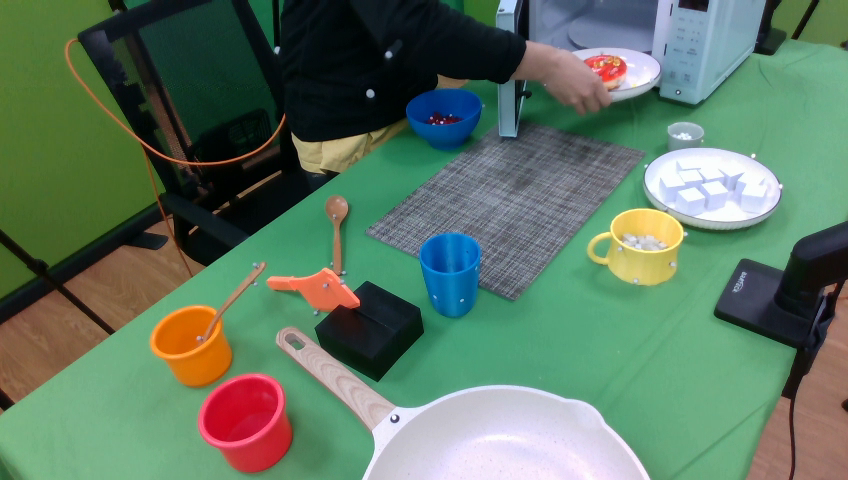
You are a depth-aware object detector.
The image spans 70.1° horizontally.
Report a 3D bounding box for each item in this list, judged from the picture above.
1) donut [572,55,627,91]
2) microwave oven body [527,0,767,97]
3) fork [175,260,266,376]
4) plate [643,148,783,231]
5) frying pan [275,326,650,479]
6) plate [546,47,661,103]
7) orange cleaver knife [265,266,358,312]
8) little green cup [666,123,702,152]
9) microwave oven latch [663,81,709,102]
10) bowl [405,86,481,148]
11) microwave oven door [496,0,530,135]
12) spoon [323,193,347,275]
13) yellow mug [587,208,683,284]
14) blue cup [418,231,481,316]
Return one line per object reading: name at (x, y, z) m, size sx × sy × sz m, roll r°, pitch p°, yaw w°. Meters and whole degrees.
donut at (0.327, -0.312, 1.127) m, size 0.099 × 0.048 × 0.098 m, roll -7°, pitch 38°, yaw 6°
microwave oven body at (0.473, -0.516, 1.313) m, size 0.438 × 0.261 × 0.327 m, roll 26°, pitch 51°, yaw 34°
fork at (-0.268, 0.103, 0.792) m, size 0.207 × 0.019 × 0.028 m, roll -51°, pitch 41°, yaw 16°
plate at (0.464, -0.080, 0.985) m, size 0.207 × 0.039 × 0.206 m, roll -4°, pitch 41°, yaw 4°
frying pan at (0.003, 0.229, 0.641) m, size 0.484 × 0.103 × 0.308 m, roll 34°, pitch 54°, yaw 28°
plate at (0.335, -0.307, 1.138) m, size 0.209 × 0.038 × 0.208 m, roll -5°, pitch 38°, yaw 4°
orange cleaver knife at (-0.164, 0.073, 0.864) m, size 0.210 × 0.077 × 0.012 m, roll -6°, pitch 30°, yaw 50°
little green cup at (0.472, -0.183, 1.103) m, size 0.061 × 0.039 × 0.061 m, roll -6°, pitch 39°, yaw 5°
microwave oven latch at (0.519, -0.299, 1.202) m, size 0.030 × 0.029 × 0.078 m, roll -36°, pitch 48°, yaw -28°
bowl at (0.041, -0.236, 1.197) m, size 0.151 × 0.077 × 0.150 m, roll -3°, pitch 40°, yaw 3°
microwave oven door at (0.184, -0.410, 1.225) m, size 0.039 × 0.245 × 0.355 m, roll 3°, pitch 42°, yaw 12°
spoon at (-0.148, -0.014, 1.008) m, size 0.042 × 0.022 × 0.192 m, roll 0°, pitch 40°, yaw -8°
yellow mug at (0.305, 0.009, 0.884) m, size 0.131 × 0.064 × 0.099 m, roll -4°, pitch 41°, yaw 5°
blue cup at (0.040, 0.053, 0.843) m, size 0.092 × 0.100 × 0.092 m, roll -4°, pitch 43°, yaw 4°
